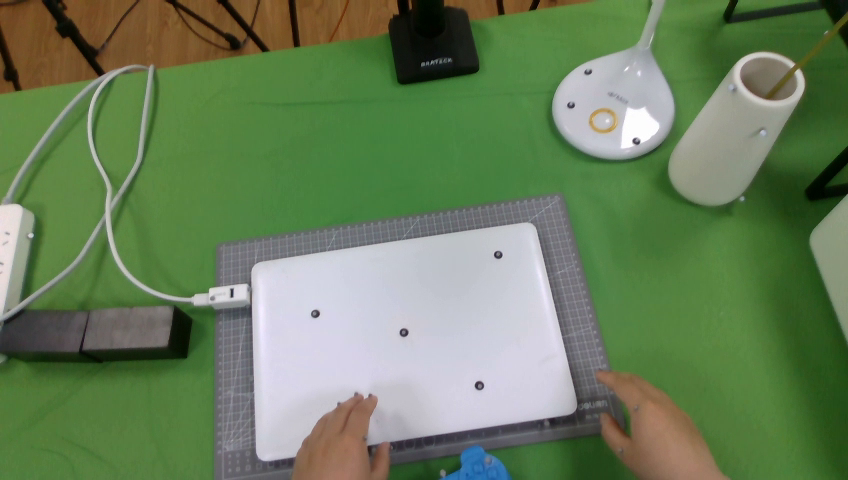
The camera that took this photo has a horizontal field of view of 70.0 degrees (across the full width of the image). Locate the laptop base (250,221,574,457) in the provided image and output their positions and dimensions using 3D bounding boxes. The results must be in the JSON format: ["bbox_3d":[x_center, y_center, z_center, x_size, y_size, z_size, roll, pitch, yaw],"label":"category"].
[{"bbox_3d":[-0.024,0.107,0.707,0.354,0.023,0.233,-8,69,-1],"label":"laptop base"}]

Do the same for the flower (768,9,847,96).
[{"bbox_3d":[0.362,-0.160,0.615,0.038,0.364,0.043,6,56,-12],"label":"flower"}]

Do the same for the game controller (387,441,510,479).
[{"bbox_3d":[0.020,0.273,0.617,0.155,0.052,0.096,-22,63,-7],"label":"game controller"}]

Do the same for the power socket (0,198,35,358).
[{"bbox_3d":[-0.543,0.047,0.755,0.072,0.033,0.225,-6,65,0],"label":"power socket"}]

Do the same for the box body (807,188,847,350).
[{"bbox_3d":[0.585,0.096,0.599,0.254,0.161,0.361,-7,66,1],"label":"box body"}]

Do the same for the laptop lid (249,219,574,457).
[{"bbox_3d":[-0.024,0.105,0.695,0.357,0.013,0.240,-7,68,0],"label":"laptop lid"}]

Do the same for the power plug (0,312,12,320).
[{"bbox_3d":[-0.508,0.105,0.706,0.072,0.053,0.035,6,65,4],"label":"power plug"}]

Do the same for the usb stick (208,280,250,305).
[{"bbox_3d":[-0.225,0.062,0.724,0.059,0.027,0.021,-5,66,-5],"label":"usb stick"}]

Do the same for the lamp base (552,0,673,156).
[{"bbox_3d":[0.254,-0.225,0.750,0.160,0.181,0.178,23,67,13],"label":"lamp base"}]

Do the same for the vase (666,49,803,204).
[{"bbox_3d":[0.347,-0.123,0.689,0.098,0.201,0.097,-2,64,4],"label":"vase"}]
